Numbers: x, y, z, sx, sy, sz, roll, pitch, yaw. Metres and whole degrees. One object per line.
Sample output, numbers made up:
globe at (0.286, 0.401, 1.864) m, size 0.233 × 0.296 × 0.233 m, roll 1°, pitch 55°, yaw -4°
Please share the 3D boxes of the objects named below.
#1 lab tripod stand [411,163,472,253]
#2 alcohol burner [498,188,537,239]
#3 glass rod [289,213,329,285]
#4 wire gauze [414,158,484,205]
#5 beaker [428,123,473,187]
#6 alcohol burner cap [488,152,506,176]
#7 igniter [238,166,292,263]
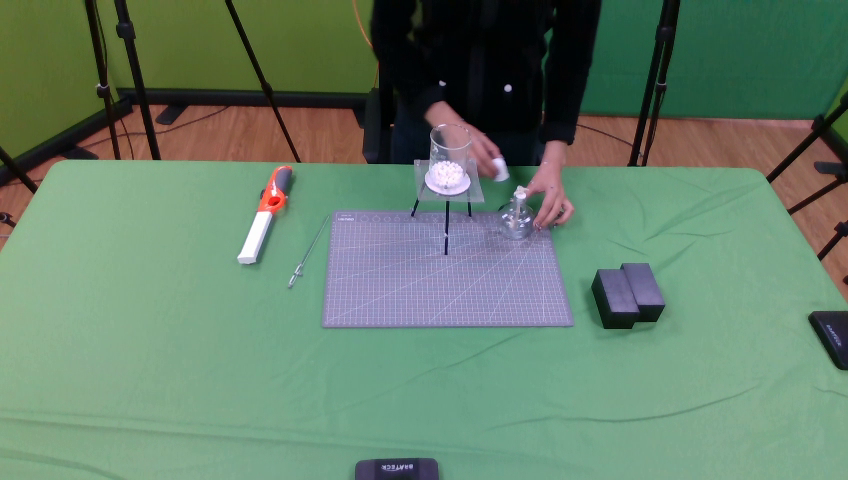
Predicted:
lab tripod stand at (0.043, -0.070, 1.187) m, size 0.148 × 0.132 × 0.147 m, roll 3°, pitch 47°, yaw -3°
alcohol burner at (0.187, -0.060, 1.201) m, size 0.078 × 0.120 × 0.077 m, roll 1°, pitch 48°, yaw -1°
glass rod at (-0.221, 0.014, 1.179) m, size 0.008 × 0.008 × 0.199 m, roll 12°, pitch 46°, yaw 8°
wire gauze at (0.045, -0.113, 1.137) m, size 0.125 × 0.011 × 0.120 m, roll 1°, pitch 48°, yaw -6°
beaker at (0.044, -0.154, 1.109) m, size 0.074 × 0.101 × 0.083 m, roll -25°, pitch 54°, yaw -25°
alcohol burner cap at (0.151, -0.157, 1.234) m, size 0.034 × 0.048 × 0.033 m, roll 5°, pitch 45°, yaw -5°
igniter at (-0.318, -0.060, 1.229) m, size 0.057 × 0.025 × 0.275 m, roll -2°, pitch 45°, yaw 10°
